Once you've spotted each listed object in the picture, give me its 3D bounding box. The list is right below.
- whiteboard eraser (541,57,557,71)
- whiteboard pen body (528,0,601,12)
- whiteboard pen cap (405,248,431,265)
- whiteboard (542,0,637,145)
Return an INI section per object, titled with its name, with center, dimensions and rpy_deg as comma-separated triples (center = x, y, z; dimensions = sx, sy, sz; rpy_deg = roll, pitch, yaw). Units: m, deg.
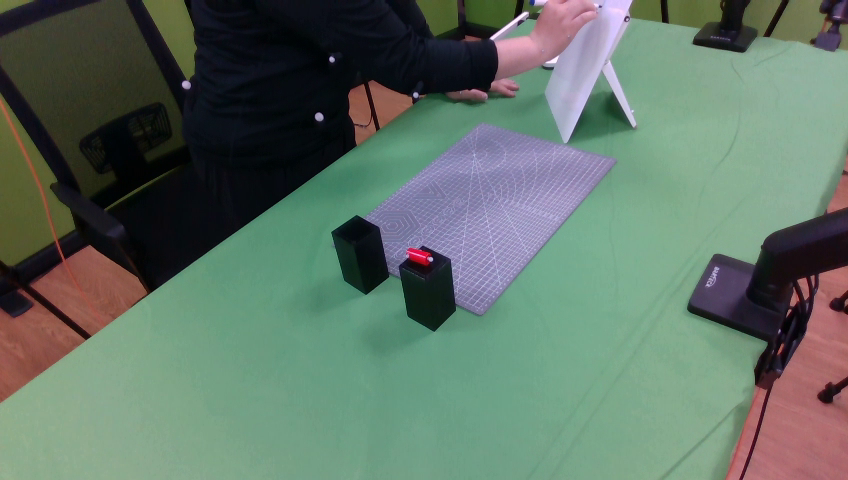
[whiteboard eraser]
center = 0.324, -0.412, 1.408
dimensions = 0.101, 0.019, 0.041
rpy_deg = 2, 42, 11
[whiteboard pen body]
center = 0.252, -0.416, 1.077
dimensions = 0.141, 0.017, 0.016
rpy_deg = -1, 38, -15
[whiteboard pen cap]
center = -0.008, 0.021, 0.794
dimensions = 0.032, 0.017, 0.017
rpy_deg = 16, 45, 28
[whiteboard]
center = 0.366, -0.351, 1.160
dimensions = 0.144, 0.305, 0.216
rpy_deg = 10, 39, -10
